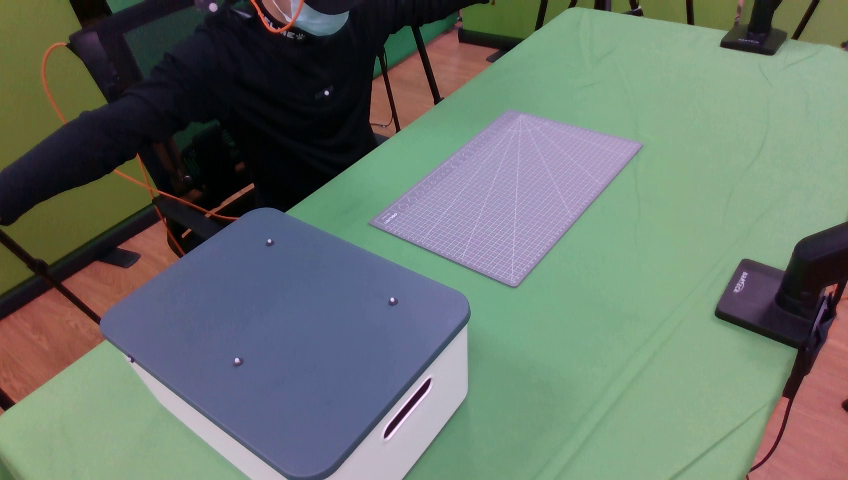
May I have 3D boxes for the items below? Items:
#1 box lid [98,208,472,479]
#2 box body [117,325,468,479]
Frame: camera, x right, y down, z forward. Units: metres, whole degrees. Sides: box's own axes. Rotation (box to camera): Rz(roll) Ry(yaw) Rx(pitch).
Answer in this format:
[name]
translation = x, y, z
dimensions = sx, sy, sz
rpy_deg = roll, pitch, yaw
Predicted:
[box lid]
translation = -0.161, 0.083, 0.675
dimensions = 0.368, 0.015, 0.264
rpy_deg = 22, 48, 30
[box body]
translation = -0.151, 0.140, 0.721
dimensions = 0.361, 0.161, 0.255
rpy_deg = 23, 49, 30
